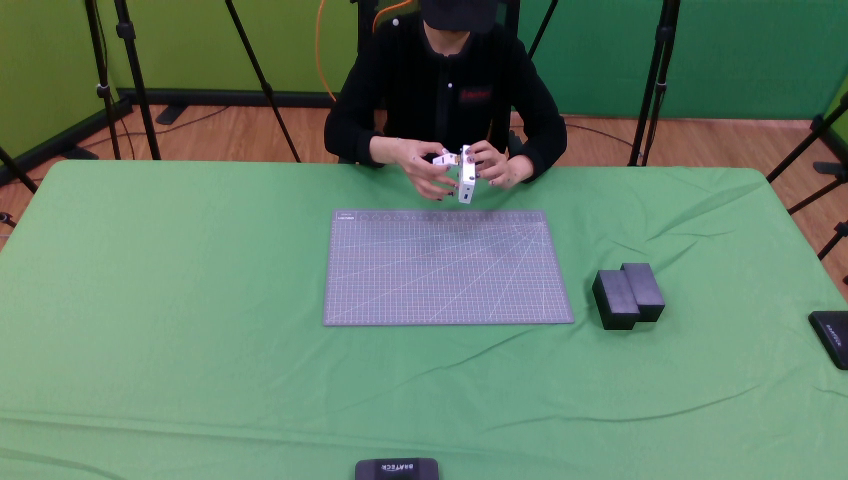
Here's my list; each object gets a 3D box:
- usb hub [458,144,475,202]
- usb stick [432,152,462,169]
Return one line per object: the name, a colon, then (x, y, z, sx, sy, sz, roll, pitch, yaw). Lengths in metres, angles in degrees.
usb hub: (0.083, -0.132, 1.181, 0.025, 0.050, 0.124, 8, 44, -4)
usb stick: (0.046, -0.156, 1.177, 0.027, 0.059, 0.021, 6, 77, -50)
